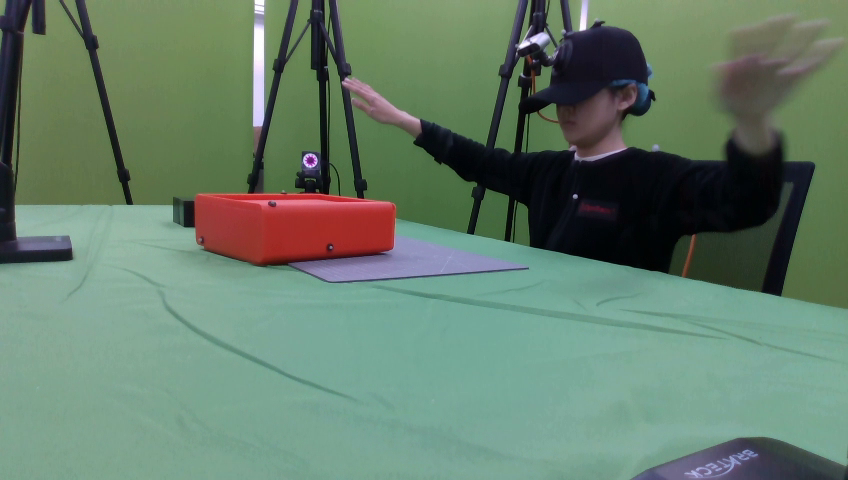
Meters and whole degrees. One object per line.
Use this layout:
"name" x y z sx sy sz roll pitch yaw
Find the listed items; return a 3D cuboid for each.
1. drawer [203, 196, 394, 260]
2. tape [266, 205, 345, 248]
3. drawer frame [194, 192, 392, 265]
"drawer" -0.184 -0.023 0.887 0.213 0.073 0.193 -5 11 -43
"tape" -0.178 -0.021 0.904 0.117 0.052 0.117 5 6 0
"drawer frame" -0.190 -0.024 0.882 0.215 0.082 0.200 -5 11 -44
